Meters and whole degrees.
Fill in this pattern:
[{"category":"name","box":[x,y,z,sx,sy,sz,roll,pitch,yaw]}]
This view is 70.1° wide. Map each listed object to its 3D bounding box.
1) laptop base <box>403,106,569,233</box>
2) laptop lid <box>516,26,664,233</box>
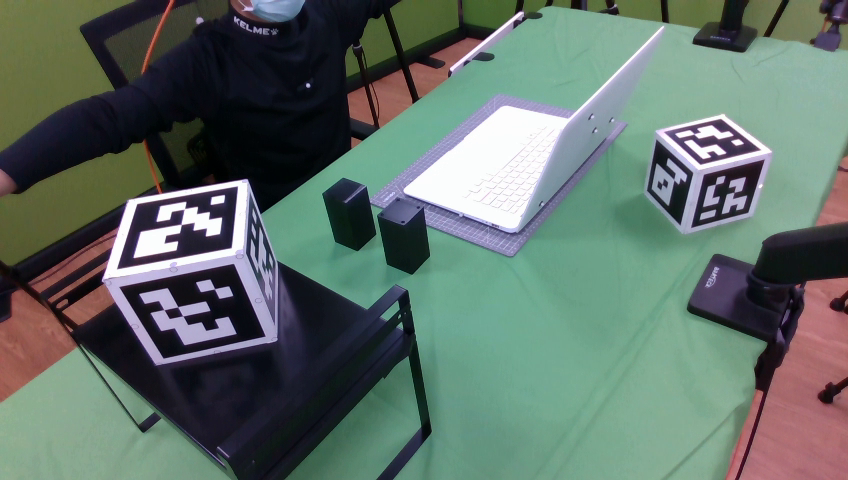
[{"category":"laptop base","box":[0.156,-0.144,1.116,0.233,0.023,0.355,20,47,32]},{"category":"laptop lid","box":[0.268,-0.178,0.966,0.013,0.242,0.357,35,52,16]}]
